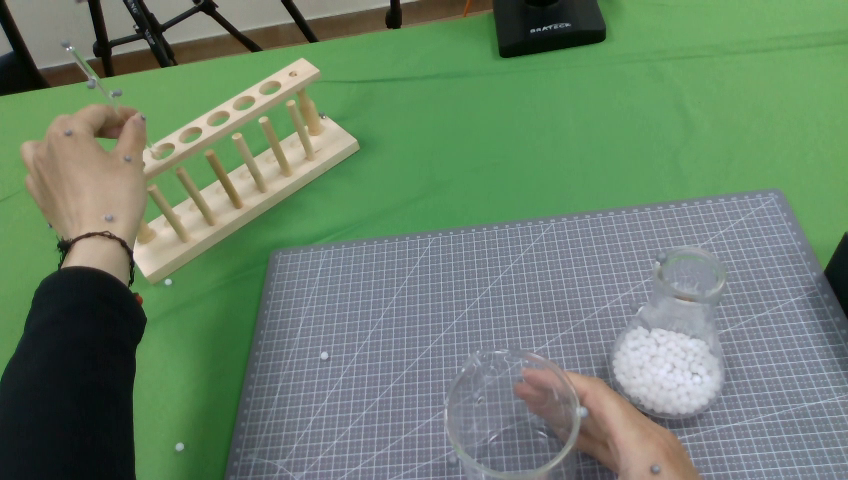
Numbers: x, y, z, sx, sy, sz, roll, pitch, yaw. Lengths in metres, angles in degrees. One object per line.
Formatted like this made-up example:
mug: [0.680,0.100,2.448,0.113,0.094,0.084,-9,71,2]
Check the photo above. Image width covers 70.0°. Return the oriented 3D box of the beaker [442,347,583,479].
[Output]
beaker: [0.053,0.120,0.367,0.074,0.101,0.083,-26,50,-9]

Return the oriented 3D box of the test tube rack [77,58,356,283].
test tube rack: [-0.191,-0.071,0.589,0.242,0.086,0.066,-37,53,-17]

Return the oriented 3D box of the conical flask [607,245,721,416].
conical flask: [0.156,0.054,0.382,0.075,0.123,0.074,-6,51,8]

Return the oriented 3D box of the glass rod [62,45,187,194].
glass rod: [-0.245,-0.089,0.527,0.008,0.202,0.008,-6,57,9]
